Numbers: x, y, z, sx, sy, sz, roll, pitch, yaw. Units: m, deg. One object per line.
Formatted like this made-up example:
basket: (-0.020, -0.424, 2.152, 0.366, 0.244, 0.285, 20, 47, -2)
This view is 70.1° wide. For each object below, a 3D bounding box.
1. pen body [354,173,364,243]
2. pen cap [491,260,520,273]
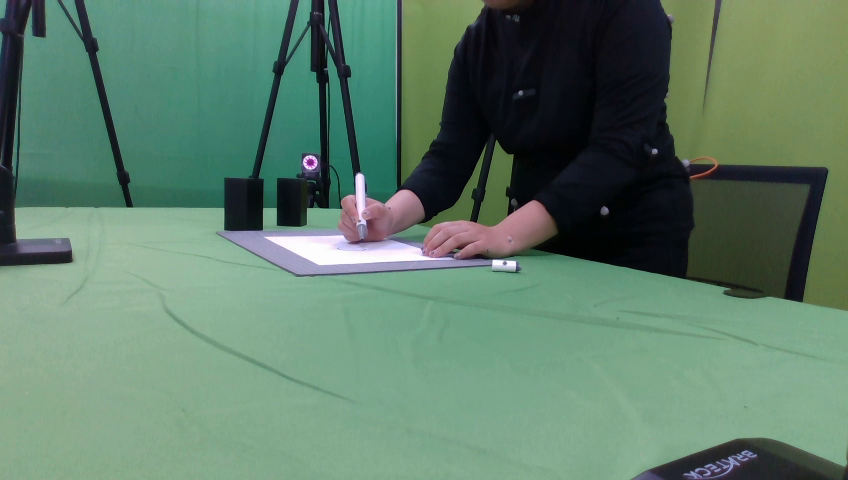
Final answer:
pen body: (-0.106, -0.053, 0.989, 0.017, 0.143, 0.017, -3, -37, -2)
pen cap: (0.110, 0.036, 0.813, 0.038, 0.017, 0.017, 3, 7, 7)
